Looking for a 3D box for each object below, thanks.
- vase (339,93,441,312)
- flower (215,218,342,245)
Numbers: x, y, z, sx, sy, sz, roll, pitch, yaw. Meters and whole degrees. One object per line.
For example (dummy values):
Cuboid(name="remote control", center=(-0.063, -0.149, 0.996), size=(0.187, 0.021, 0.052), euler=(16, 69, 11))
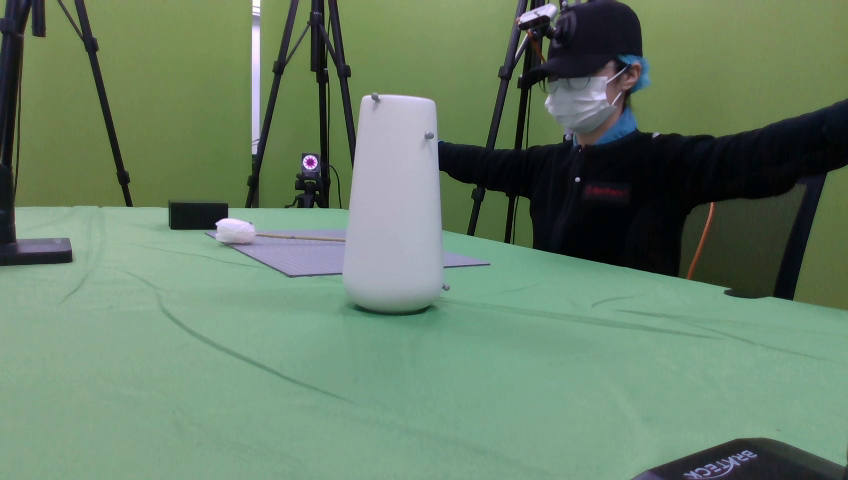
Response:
Cuboid(name="vase", center=(-0.032, -0.035, 0.577), size=(0.098, 0.200, 0.098), euler=(0, 7, 0))
Cuboid(name="flower", center=(-0.152, -0.001, 0.993), size=(0.363, 0.038, 0.044), euler=(5, -31, -17))
